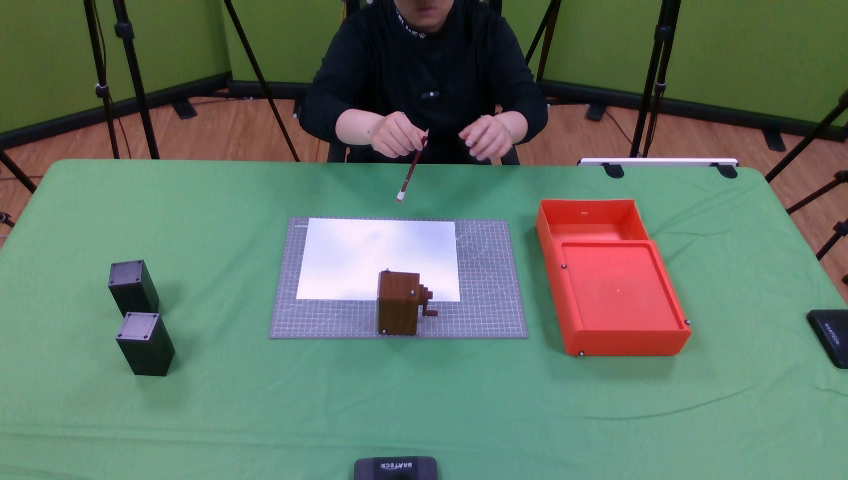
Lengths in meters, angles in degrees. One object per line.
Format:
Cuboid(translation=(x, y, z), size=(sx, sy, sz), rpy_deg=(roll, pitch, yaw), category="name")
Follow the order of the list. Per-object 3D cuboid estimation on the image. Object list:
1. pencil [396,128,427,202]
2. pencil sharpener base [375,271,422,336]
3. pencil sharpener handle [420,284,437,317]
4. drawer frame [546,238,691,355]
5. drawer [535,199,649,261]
Cuboid(translation=(-0.023, -0.136, 1.123), size=(0.012, 0.194, 0.012), rpy_deg=(11, 49, -13), category="pencil")
Cuboid(translation=(-0.043, 0.109, 1.025), size=(0.077, 0.107, 0.061), rpy_deg=(3, 45, -2), category="pencil sharpener base")
Cuboid(translation=(0.009, 0.104, 1.017), size=(0.030, 0.068, 0.036), rpy_deg=(3, 40, -2), category="pencil sharpener handle")
Cuboid(translation=(0.338, 0.097, 1.086), size=(0.202, 0.083, 0.212), rpy_deg=(0, 46, -4), category="drawer frame")
Cuboid(translation=(0.332, 0.015, 1.169), size=(0.195, 0.073, 0.210), rpy_deg=(0, 46, -5), category="drawer")
